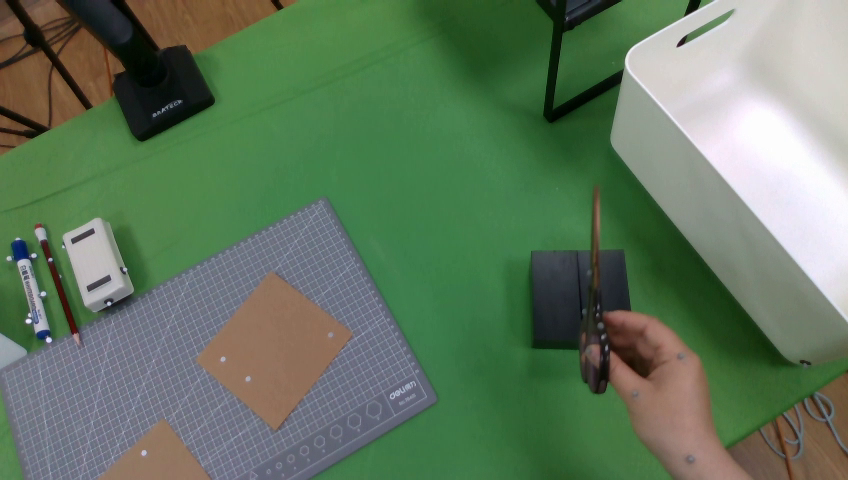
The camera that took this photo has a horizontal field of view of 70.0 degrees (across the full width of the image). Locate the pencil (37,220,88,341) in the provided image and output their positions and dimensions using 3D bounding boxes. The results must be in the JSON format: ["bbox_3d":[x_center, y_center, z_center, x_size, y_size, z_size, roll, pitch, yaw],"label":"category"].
[{"bbox_3d":[-0.458,0.049,0.769,0.012,0.012,0.192,-32,69,-6],"label":"pencil"}]

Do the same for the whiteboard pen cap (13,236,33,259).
[{"bbox_3d":[-0.520,0.012,0.786,0.018,0.018,0.033,-31,67,-6],"label":"whiteboard pen cap"}]

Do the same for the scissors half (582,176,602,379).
[{"bbox_3d":[0.145,0.033,0.518,0.013,0.040,0.175,-1,100,-1],"label":"scissors half"}]

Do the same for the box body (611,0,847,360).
[{"bbox_3d":[0.402,-0.084,0.642,0.254,0.161,0.361,-30,68,-5],"label":"box body"}]

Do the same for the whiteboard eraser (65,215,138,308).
[{"bbox_3d":[-0.401,0.027,0.755,0.055,0.042,0.112,-30,69,-5],"label":"whiteboard eraser"}]

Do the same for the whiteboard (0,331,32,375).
[{"bbox_3d":[-0.639,0.057,0.661,0.217,0.309,0.142,-29,49,-5],"label":"whiteboard"}]

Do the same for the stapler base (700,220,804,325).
[{"bbox_3d":[0.364,0.030,0.670,0.041,0.024,0.129,-33,72,-4],"label":"stapler base"}]

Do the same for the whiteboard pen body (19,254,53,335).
[{"bbox_3d":[-0.494,0.059,0.766,0.017,0.017,0.139,-29,68,-5],"label":"whiteboard pen body"}]

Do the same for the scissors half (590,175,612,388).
[{"bbox_3d":[0.144,0.033,0.498,0.013,0.040,0.174,-1,84,4],"label":"scissors half"}]

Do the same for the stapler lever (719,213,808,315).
[{"bbox_3d":[0.363,0.023,0.646,0.027,0.040,0.117,-33,72,-4],"label":"stapler lever"}]

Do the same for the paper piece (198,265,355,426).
[{"bbox_3d":[-0.174,0.120,0.709,0.137,0.009,0.136,35,81,16],"label":"paper piece"}]

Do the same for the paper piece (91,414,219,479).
[{"bbox_3d":[-0.297,0.284,0.657,0.135,0.004,0.135,-44,71,-11],"label":"paper piece"}]
